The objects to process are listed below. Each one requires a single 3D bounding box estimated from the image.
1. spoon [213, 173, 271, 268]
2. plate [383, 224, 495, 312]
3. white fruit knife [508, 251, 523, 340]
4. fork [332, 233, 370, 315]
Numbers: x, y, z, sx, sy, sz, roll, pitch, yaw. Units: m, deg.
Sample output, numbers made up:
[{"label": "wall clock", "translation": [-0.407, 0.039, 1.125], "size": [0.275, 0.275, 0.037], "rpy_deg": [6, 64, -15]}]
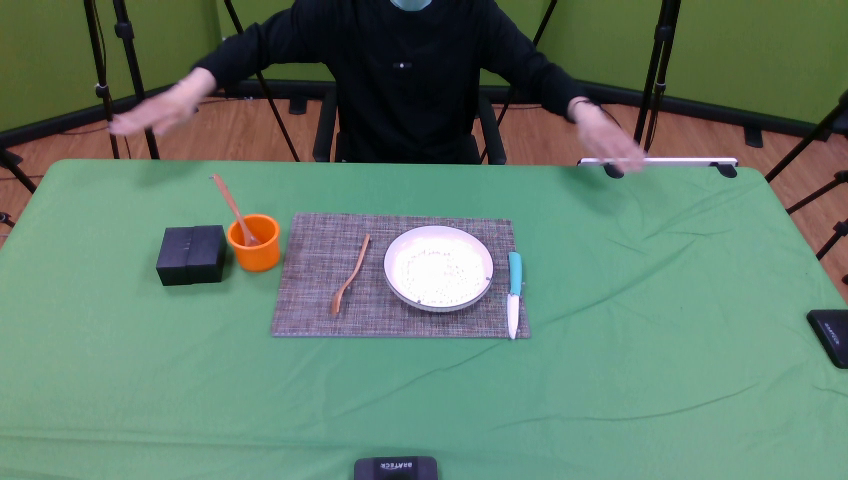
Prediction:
[{"label": "spoon", "translation": [-0.338, -0.036, 1.119], "size": [0.041, 0.194, 0.021], "rpy_deg": [-28, 10, -23]}, {"label": "plate", "translation": [0.026, 0.055, 1.128], "size": [0.209, 0.038, 0.208], "rpy_deg": [2, 46, -2]}, {"label": "white fruit knife", "translation": [0.169, 0.098, 1.113], "size": [0.027, 0.016, 0.206], "rpy_deg": [-13, 43, 23]}, {"label": "fork", "translation": [-0.133, 0.058, 1.127], "size": [0.019, 0.028, 0.206], "rpy_deg": [35, 43, -13]}]
